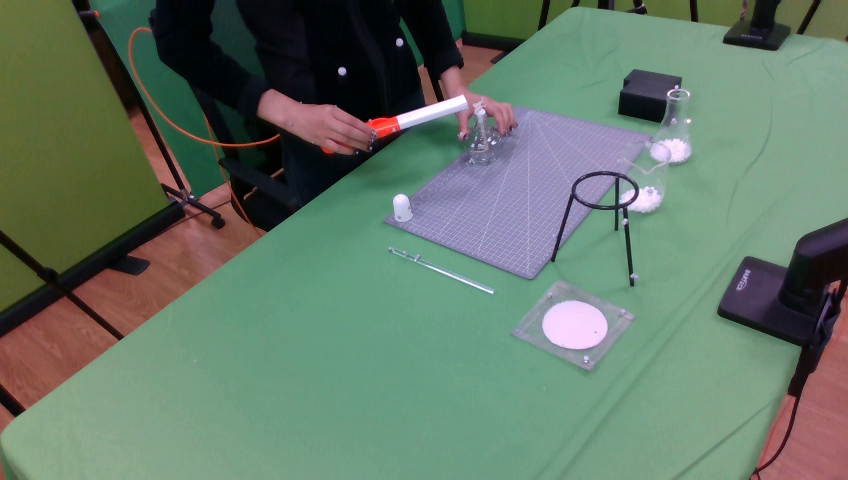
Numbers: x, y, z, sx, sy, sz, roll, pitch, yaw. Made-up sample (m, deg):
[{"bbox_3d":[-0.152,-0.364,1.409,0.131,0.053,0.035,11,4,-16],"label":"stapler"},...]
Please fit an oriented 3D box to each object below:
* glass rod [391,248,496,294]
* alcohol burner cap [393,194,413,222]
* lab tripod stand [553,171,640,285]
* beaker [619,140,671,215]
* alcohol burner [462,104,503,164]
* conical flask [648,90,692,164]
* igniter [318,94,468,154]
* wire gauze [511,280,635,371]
[{"bbox_3d":[0.026,0.045,0.937,0.198,0.008,0.008,21,49,31],"label":"glass rod"},{"bbox_3d":[-0.038,-0.057,1.038,0.034,0.048,0.033,-6,41,5],"label":"alcohol burner cap"},{"bbox_3d":[0.260,-0.025,0.877,0.148,0.132,0.147,-6,38,5],"label":"lab tripod stand"},{"bbox_3d":[0.352,-0.096,0.971,0.074,0.101,0.084,1,42,13],"label":"beaker"},{"bbox_3d":[0.109,-0.202,1.127,0.078,0.119,0.077,-5,42,5],"label":"alcohol burner"},{"bbox_3d":[0.437,-0.199,1.057,0.075,0.122,0.075,-5,40,5],"label":"conical flask"},{"bbox_3d":[-0.057,-0.206,1.080,0.277,0.025,0.057,-18,42,0],"label":"igniter"},{"bbox_3d":[0.203,0.114,0.822,0.120,0.011,0.125,25,52,35],"label":"wire gauze"}]
